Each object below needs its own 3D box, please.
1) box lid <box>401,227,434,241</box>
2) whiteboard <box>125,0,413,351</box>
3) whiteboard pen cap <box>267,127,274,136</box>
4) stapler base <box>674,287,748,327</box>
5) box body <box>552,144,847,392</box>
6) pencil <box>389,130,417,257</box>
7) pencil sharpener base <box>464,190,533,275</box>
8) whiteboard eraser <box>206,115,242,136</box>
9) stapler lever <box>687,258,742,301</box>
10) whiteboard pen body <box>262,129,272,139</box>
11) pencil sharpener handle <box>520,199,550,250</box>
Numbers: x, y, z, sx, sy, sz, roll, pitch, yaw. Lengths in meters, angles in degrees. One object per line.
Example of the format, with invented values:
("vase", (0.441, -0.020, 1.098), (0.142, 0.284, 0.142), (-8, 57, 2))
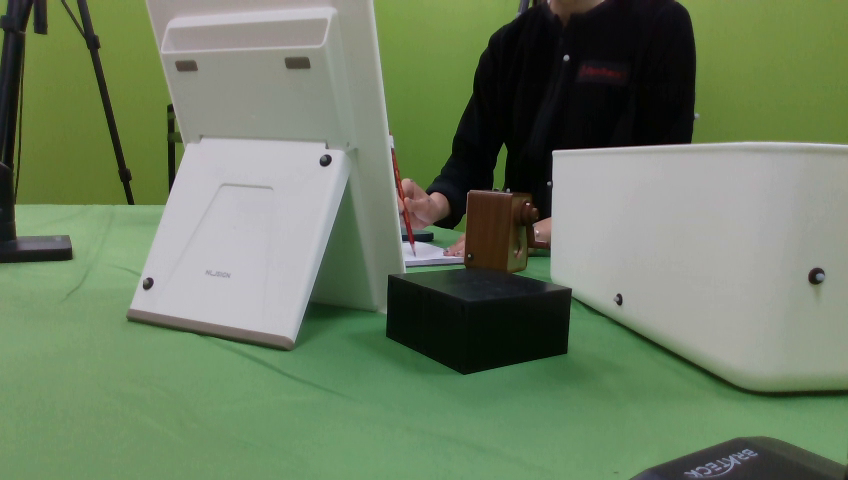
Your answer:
("box lid", (-0.196, -0.015, 1.105), (0.373, 0.015, 0.262), (-1, 7, -32))
("whiteboard", (-0.151, -0.050, 0.471), (0.216, 0.305, 0.144), (6, 27, 24))
("whiteboard pen cap", (-0.340, -0.239, 1.337), (0.018, 0.018, 0.033), (1, -1, -14))
("stapler base", (0.281, 0.061, 0.586), (0.041, 0.024, 0.131), (11, 9, 37))
("box body", (0.290, 0.002, 0.549), (0.255, 0.160, 0.363), (2, 7, -10))
("pencil", (-0.032, -0.069, 0.884), (0.012, 0.193, 0.012), (-13, -8, -1))
("pencil sharpener base", (0.102, -0.012, 0.813), (0.076, 0.107, 0.061), (8, 9, 36))
("whiteboard eraser", (-0.438, -0.249, 1.320), (0.056, 0.042, 0.112), (-3, 9, -30))
("stapler lever", (0.283, 0.035, 0.585), (0.026, 0.040, 0.119), (11, 8, 37))
("whiteboard pen body", (-0.361, -0.245, 1.393), (0.017, 0.017, 0.140), (0, 5, -20))
("pencil sharpener handle", (0.147, -0.019, 0.785), (0.030, 0.068, 0.036), (8, 25, 36))
